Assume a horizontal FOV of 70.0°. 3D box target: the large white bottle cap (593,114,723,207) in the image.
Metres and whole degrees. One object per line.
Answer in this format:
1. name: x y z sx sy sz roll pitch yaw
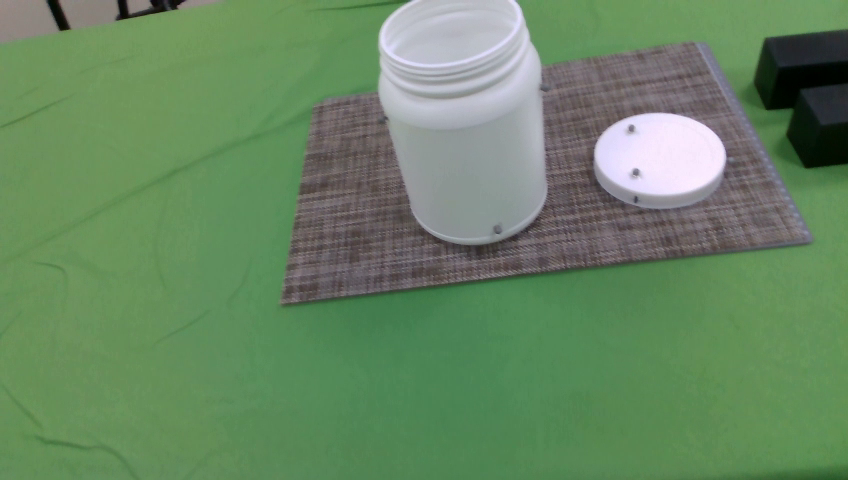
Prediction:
1. large white bottle cap: 0.218 -0.077 0.568 0.115 0.018 0.113 -6 49 8

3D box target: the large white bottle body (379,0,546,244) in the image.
1. large white bottle body: 0.036 -0.100 0.517 0.130 0.186 0.129 -7 48 8
